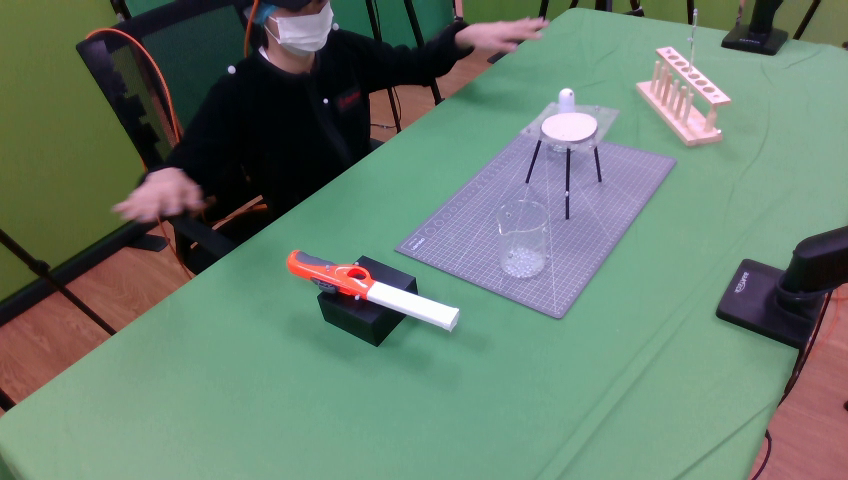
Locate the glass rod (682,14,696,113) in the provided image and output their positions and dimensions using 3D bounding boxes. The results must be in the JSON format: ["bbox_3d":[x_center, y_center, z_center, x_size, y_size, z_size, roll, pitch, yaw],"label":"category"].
[{"bbox_3d":[0.495,-0.326,1.132,0.008,0.201,0.008,-8,42,8],"label":"glass rod"}]

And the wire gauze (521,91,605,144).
[{"bbox_3d":[0.219,-0.191,0.948,0.121,0.011,0.125,8,49,13],"label":"wire gauze"}]

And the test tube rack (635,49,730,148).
[{"bbox_3d":[0.497,-0.283,1.185,0.067,0.085,0.240,-10,40,-2],"label":"test tube rack"}]

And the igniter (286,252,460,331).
[{"bbox_3d":[-0.080,0.067,0.832,0.275,0.025,0.057,17,46,22],"label":"igniter"}]

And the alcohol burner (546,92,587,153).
[{"bbox_3d":[0.263,-0.222,1.124,0.078,0.119,0.077,-5,42,5],"label":"alcohol burner"}]

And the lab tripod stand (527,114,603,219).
[{"bbox_3d":[0.235,-0.129,1.002,0.148,0.132,0.147,-6,40,6],"label":"lab tripod stand"}]

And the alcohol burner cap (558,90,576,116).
[{"bbox_3d":[0.260,-0.250,1.102,0.034,0.048,0.033,-7,37,5],"label":"alcohol burner cap"}]

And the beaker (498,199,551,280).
[{"bbox_3d":[0.144,0.003,0.884,0.073,0.101,0.084,28,52,36],"label":"beaker"}]
